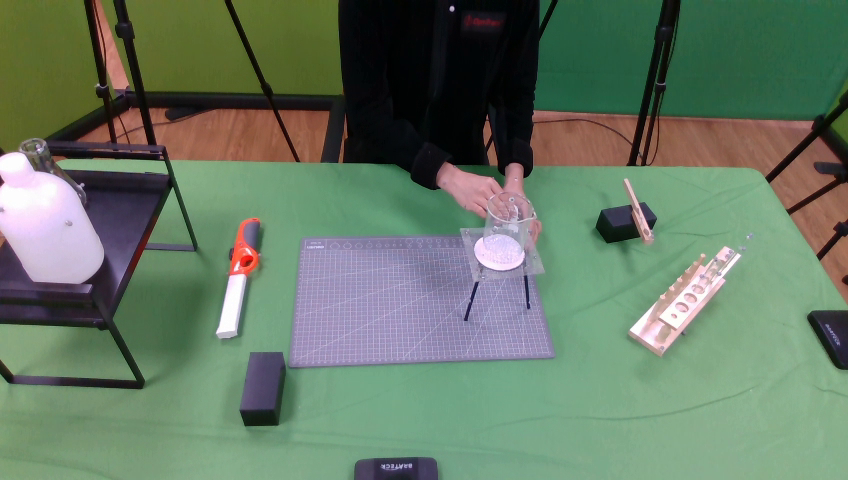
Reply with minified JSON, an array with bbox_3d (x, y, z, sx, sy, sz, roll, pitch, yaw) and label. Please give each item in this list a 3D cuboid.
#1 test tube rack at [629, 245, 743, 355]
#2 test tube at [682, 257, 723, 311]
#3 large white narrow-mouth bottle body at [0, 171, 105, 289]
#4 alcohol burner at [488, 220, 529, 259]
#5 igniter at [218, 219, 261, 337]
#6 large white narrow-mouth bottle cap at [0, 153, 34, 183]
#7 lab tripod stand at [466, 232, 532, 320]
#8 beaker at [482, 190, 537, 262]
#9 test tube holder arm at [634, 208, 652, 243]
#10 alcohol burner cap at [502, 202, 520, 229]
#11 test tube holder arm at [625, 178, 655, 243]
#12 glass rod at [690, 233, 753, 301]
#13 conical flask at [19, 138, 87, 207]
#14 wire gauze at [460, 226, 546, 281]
[{"bbox_3d":[0.474,0.095,1.091,0.242,0.085,0.066,-34,56,-31],"label":"test tube rack"},{"bbox_3d":[0.475,0.080,1.037,0.017,0.151,0.017,1,51,-1],"label":"test tube"},{"bbox_3d":[-0.513,-0.029,0.818,0.102,0.195,0.101,2,46,-2],"label":"large white narrow-mouth bottle body"},{"bbox_3d":[0.163,-0.020,1.158,0.078,0.120,0.077,0,47,0],"label":"alcohol burner"},{"bbox_3d":[-0.336,0.060,1.111,0.057,0.025,0.274,-8,46,4],"label":"igniter"},{"bbox_3d":[-0.510,-0.090,0.754,0.038,0.024,0.037,2,46,-2],"label":"large white narrow-mouth bottle cap"},{"bbox_3d":[0.125,0.059,1.065,0.148,0.132,0.147,1,45,0],"label":"lab tripod stand"},{"bbox_3d":[0.136,-0.019,0.983,0.084,0.101,0.073,17,47,14],"label":"beaker"},{"bbox_3d":[0.428,-0.030,1.189,0.010,0.015,0.087,2,47,-3],"label":"test tube holder arm"},{"bbox_3d":[0.164,-0.049,1.131,0.034,0.048,0.033,1,40,-1],"label":"alcohol burner cap"},{"bbox_3d":[0.433,-0.062,1.220,0.013,0.015,0.177,1,47,-3],"label":"test tube holder arm"},{"bbox_3d":[0.507,0.053,1.041,0.008,0.200,0.008,5,51,-6],"label":"glass rod"},{"bbox_3d":[-0.576,-0.097,0.930,0.075,0.122,0.075,2,46,-2],"label":"conical flask"},{"bbox_3d":[0.130,0.017,1.016,0.121,0.011,0.124,-4,43,-9],"label":"wire gauze"}]
